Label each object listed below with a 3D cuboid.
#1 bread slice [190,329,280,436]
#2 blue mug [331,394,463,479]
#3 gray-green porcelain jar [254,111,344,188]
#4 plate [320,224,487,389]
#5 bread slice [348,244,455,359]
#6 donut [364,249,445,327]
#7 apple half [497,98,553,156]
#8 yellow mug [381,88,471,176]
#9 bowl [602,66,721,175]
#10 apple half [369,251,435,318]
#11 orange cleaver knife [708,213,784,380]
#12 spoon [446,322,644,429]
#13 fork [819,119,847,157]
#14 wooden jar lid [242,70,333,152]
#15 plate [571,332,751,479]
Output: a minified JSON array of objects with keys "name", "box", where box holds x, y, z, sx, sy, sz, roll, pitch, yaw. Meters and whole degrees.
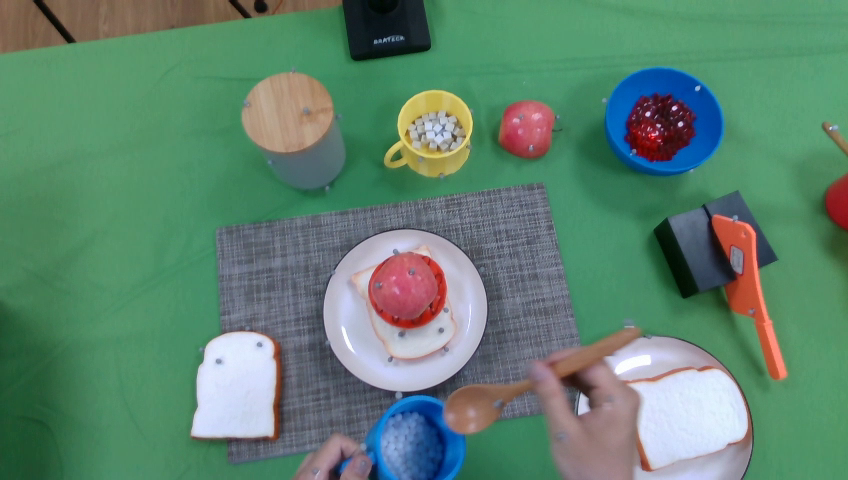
[{"name":"bread slice","box":[-0.232,0.176,0.749,0.105,0.019,0.131,-1,75,-1]},{"name":"blue mug","box":[-0.031,0.201,0.578,0.117,0.106,0.081,-10,69,-17]},{"name":"gray-green porcelain jar","box":[-0.162,-0.133,0.787,0.106,0.127,0.105,0,73,1]},{"name":"plate","box":[-0.025,0.083,0.764,0.208,0.039,0.206,0,74,1]},{"name":"bread slice","box":[-0.021,0.082,0.766,0.107,0.018,0.133,-25,74,-7]},{"name":"donut","box":[-0.023,0.059,0.742,0.099,0.048,0.098,0,74,1]},{"name":"apple half","box":[0.140,-0.162,0.832,0.074,0.053,0.080,13,74,7]},{"name":"yellow mug","box":[-0.001,-0.138,0.819,0.131,0.064,0.099,-31,75,-8]},{"name":"bowl","box":[0.306,-0.147,0.812,0.151,0.077,0.150,0,74,1]},{"name":"apple half","box":[-0.026,0.050,0.707,0.081,0.033,0.081,-2,76,7]},{"name":"orange cleaver knife","box":[0.394,0.068,0.746,0.012,0.077,0.211,-18,96,-12]},{"name":"spoon","box":[0.092,0.112,0.491,0.194,0.022,0.041,-34,84,35]},{"name":"fork","box":[0.538,-0.090,0.757,0.209,0.018,0.028,34,71,-33]},{"name":"wooden jar lid","box":[-0.163,-0.152,0.728,0.108,0.021,0.107,0,71,1]},{"name":"plate","box":[0.278,0.216,0.725,0.209,0.038,0.208,0,73,1]}]
